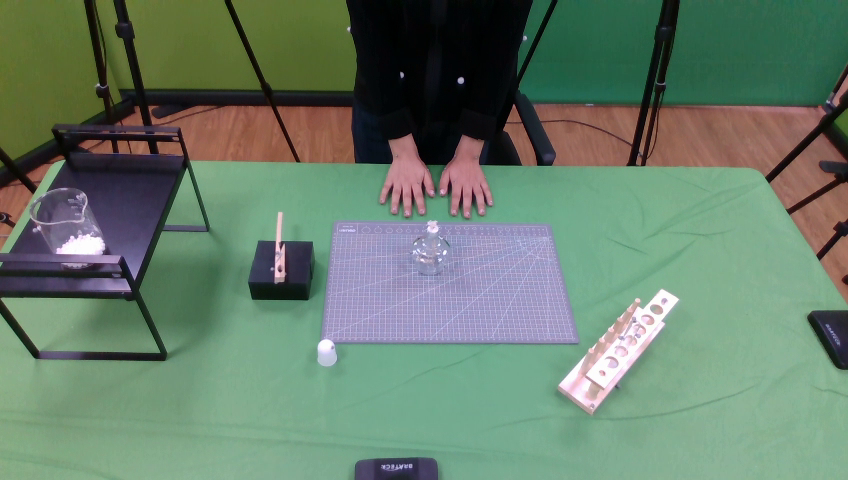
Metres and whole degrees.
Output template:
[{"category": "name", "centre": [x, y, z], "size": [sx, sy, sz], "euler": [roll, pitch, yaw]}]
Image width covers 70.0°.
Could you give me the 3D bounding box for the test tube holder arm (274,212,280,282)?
[{"category": "test tube holder arm", "centre": [-0.267, 0.008, 1.103], "size": [0.013, 0.015, 0.177], "euler": [7, 40, -21]}]

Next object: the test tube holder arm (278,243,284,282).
[{"category": "test tube holder arm", "centre": [-0.253, 0.039, 1.072], "size": [0.010, 0.015, 0.087], "euler": [8, 39, -20]}]

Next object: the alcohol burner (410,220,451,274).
[{"category": "alcohol burner", "centre": [0.013, 0.007, 1.120], "size": [0.078, 0.120, 0.077], "euler": [1, 48, -1]}]

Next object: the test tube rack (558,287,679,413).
[{"category": "test tube rack", "centre": [0.326, 0.170, 1.009], "size": [0.066, 0.085, 0.242], "euler": [36, 54, 27]}]

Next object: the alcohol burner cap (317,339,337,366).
[{"category": "alcohol burner cap", "centre": [-0.161, 0.182, 0.995], "size": [0.034, 0.048, 0.033], "euler": [2, 47, -2]}]

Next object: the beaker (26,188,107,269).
[{"category": "beaker", "centre": [-0.504, -0.013, 0.868], "size": [0.084, 0.101, 0.074], "euler": [23, 49, 17]}]

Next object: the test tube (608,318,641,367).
[{"category": "test tube", "centre": [0.308, 0.169, 0.941], "size": [0.017, 0.151, 0.017], "euler": [1, 49, -1]}]
